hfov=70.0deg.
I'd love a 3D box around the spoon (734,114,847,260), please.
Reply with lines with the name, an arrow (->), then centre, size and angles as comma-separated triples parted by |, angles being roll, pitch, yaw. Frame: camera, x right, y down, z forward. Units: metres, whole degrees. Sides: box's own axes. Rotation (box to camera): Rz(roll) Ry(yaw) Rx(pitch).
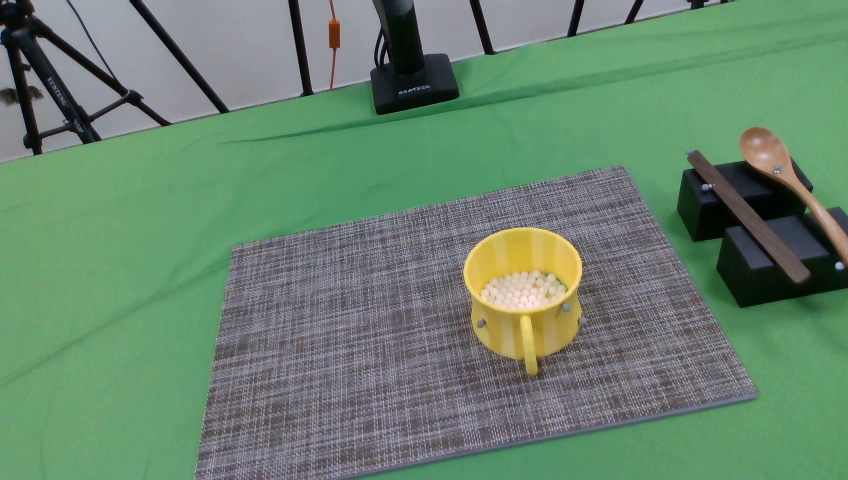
spoon -> 0.324, -0.045, 0.521 | 0.041, 0.022, 0.191 | -11, 47, 1

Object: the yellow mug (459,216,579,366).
yellow mug -> 0.084, 0.046, 0.520 | 0.100, 0.064, 0.129 | -6, 46, 8

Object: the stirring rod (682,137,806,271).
stirring rod -> 0.273, -0.038, 0.530 | 0.014, 0.006, 0.174 | -43, 39, 24
